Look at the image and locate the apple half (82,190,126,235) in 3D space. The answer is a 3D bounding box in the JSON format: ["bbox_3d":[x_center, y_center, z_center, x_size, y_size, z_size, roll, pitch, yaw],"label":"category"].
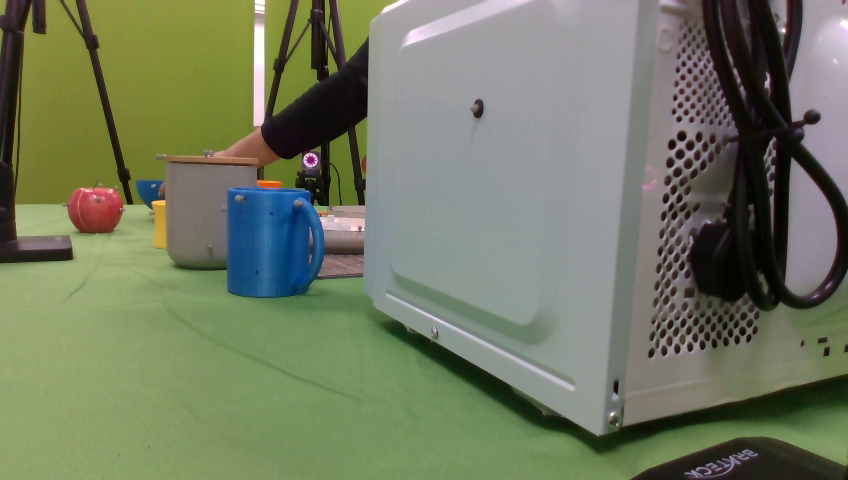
[{"bbox_3d":[-0.516,-0.046,0.994,0.032,0.081,0.081,0,6,26],"label":"apple half"}]

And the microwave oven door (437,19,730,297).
[{"bbox_3d":[0.180,-0.076,0.618,0.358,0.243,0.039,-2,9,-28],"label":"microwave oven door"}]

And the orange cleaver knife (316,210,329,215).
[{"bbox_3d":[-0.259,-0.064,1.423,0.212,0.012,0.077,-4,3,-30],"label":"orange cleaver knife"}]

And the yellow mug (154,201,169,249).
[{"bbox_3d":[-0.337,-0.022,0.899,0.130,0.064,0.100,8,9,34],"label":"yellow mug"}]

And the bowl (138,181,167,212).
[{"bbox_3d":[-0.494,-0.077,1.221,0.151,0.077,0.151,3,4,0],"label":"bowl"}]

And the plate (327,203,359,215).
[{"bbox_3d":[-0.102,-0.053,1.299,0.209,0.038,0.209,2,8,0],"label":"plate"}]

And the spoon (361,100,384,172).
[{"bbox_3d":[-0.112,-0.243,1.401,0.042,0.193,0.021,16,-18,-18],"label":"spoon"}]

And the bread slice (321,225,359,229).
[{"bbox_3d":[-0.125,-0.009,0.938,0.131,0.019,0.105,6,8,32],"label":"bread slice"}]

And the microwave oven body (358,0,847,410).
[{"bbox_3d":[0.210,-0.051,0.471,0.444,0.260,0.324,-1,7,-28],"label":"microwave oven body"}]

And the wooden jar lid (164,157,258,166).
[{"bbox_3d":[-0.261,-0.093,0.746,0.108,0.020,0.108,1,9,0],"label":"wooden jar lid"}]

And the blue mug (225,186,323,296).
[{"bbox_3d":[-0.148,0.000,0.618,0.116,0.106,0.083,7,9,33],"label":"blue mug"}]

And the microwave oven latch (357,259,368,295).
[{"bbox_3d":[-0.019,0.031,0.529,0.079,0.029,0.030,-1,7,-26],"label":"microwave oven latch"}]

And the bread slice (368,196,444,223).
[{"bbox_3d":[-0.040,-0.057,1.142,0.107,0.018,0.133,-8,-8,-39],"label":"bread slice"}]

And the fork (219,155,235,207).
[{"bbox_3d":[-0.459,-0.134,1.415,0.028,0.018,0.207,-1,-34,-24],"label":"fork"}]

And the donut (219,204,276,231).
[{"bbox_3d":[-0.316,-0.038,1.083,0.099,0.048,0.099,3,7,0],"label":"donut"}]

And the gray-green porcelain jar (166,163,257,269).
[{"bbox_3d":[-0.263,-0.031,0.754,0.106,0.126,0.106,2,7,0],"label":"gray-green porcelain jar"}]

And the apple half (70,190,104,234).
[{"bbox_3d":[-0.552,-0.047,1.010,0.053,0.074,0.081,0,10,26],"label":"apple half"}]

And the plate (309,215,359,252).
[{"bbox_3d":[-0.130,-0.011,0.945,0.208,0.039,0.207,2,8,0],"label":"plate"}]
